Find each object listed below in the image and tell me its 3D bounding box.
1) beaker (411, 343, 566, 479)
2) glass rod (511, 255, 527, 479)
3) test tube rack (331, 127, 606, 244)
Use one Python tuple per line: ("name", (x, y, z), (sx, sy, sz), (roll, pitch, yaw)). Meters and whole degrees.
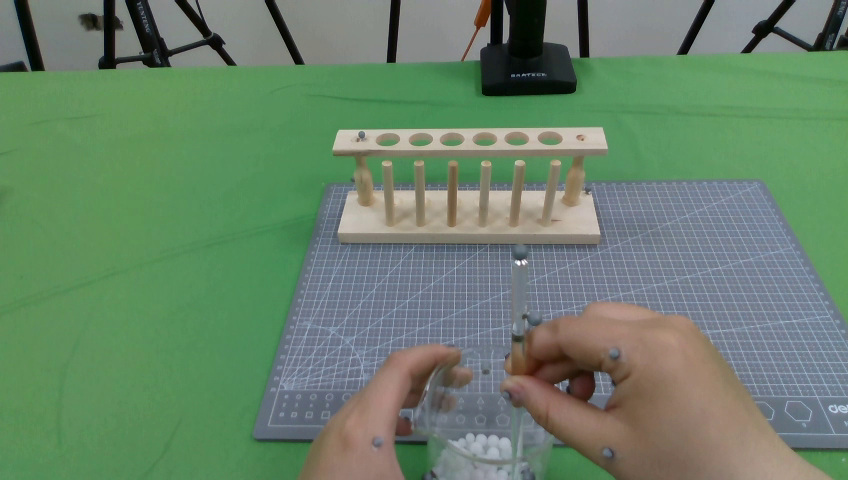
("beaker", (0.034, 0.121, 0.352), (0.084, 0.101, 0.073), (-12, 42, -13))
("glass rod", (0.048, 0.081, 0.304), (0.008, 0.201, 0.008), (-4, 42, 4))
("test tube rack", (0.039, -0.050, 0.560), (0.242, 0.086, 0.066), (0, 43, 4))
